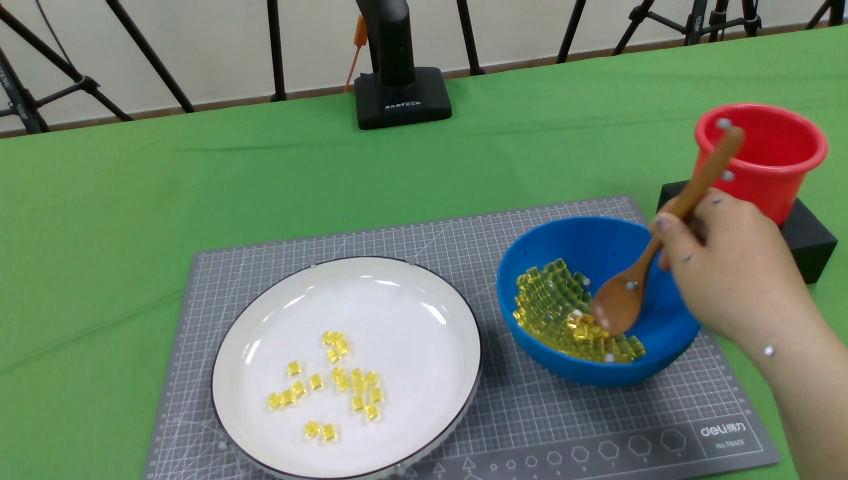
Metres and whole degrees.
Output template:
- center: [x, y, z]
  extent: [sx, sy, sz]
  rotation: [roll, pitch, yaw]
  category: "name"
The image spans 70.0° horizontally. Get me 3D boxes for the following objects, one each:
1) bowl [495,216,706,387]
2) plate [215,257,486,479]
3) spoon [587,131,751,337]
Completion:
- center: [0.130, 0.059, 0.470]
  extent: [0.151, 0.077, 0.150]
  rotation: [-3, 43, 3]
  category: "bowl"
- center: [-0.055, 0.098, 0.479]
  extent: [0.207, 0.039, 0.205]
  rotation: [-3, 43, 3]
  category: "plate"
- center: [0.165, 0.004, 0.425]
  extent: [0.022, 0.195, 0.041]
  rotation: [-4, 49, -21]
  category: "spoon"
